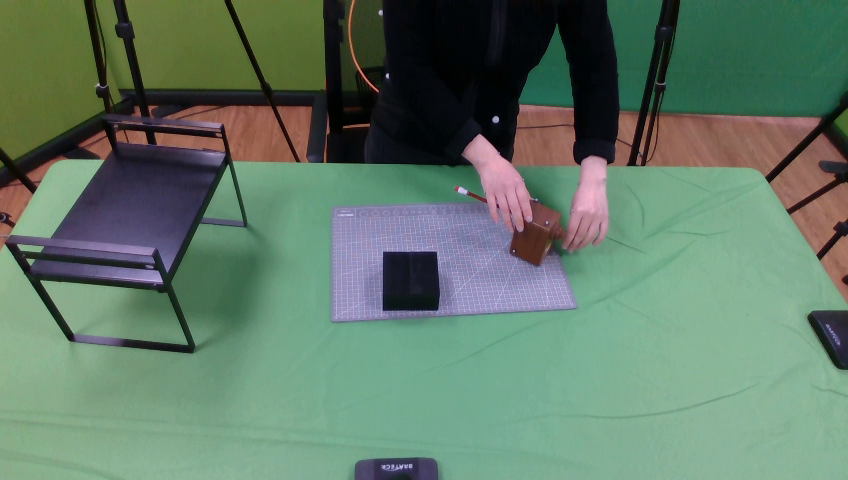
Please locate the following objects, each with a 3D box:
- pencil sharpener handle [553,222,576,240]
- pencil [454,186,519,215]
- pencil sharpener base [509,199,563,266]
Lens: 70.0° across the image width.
[{"bbox_3d":[0.266,-0.011,1.137,0.030,0.036,0.068,27,11,21],"label":"pencil sharpener handle"},{"bbox_3d":[0.144,-0.067,1.175,0.193,0.012,0.012,25,50,22],"label":"pencil"},{"bbox_3d":[0.216,-0.012,1.160,0.076,0.107,0.061,27,50,20],"label":"pencil sharpener base"}]
